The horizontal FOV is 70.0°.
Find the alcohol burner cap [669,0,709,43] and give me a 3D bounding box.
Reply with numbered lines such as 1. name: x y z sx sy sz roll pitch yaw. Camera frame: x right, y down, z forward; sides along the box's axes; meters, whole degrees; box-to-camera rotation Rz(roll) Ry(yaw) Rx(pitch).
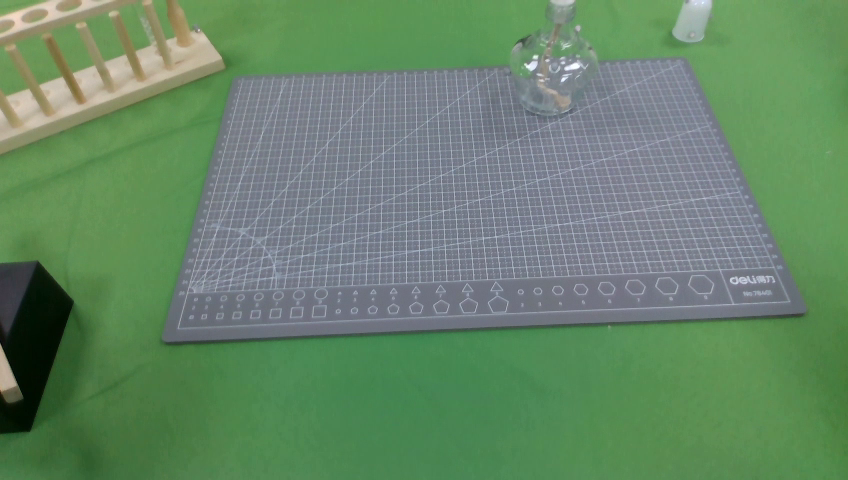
1. alcohol burner cap: 0.273 -0.228 0.617 0.034 0.048 0.033 -2 52 3

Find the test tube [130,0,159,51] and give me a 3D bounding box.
1. test tube: -0.275 -0.243 0.558 0.017 0.152 0.017 -3 49 4

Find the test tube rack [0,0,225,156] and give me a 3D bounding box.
1. test tube rack: -0.322 -0.166 0.563 0.242 0.086 0.066 -28 55 -19

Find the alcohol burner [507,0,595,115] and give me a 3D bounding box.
1. alcohol burner: 0.113 -0.170 0.527 0.078 0.120 0.077 -1 50 1

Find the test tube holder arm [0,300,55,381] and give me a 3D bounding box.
1. test tube holder arm: -0.284 0.032 0.386 0.177 0.015 0.013 33 62 26
